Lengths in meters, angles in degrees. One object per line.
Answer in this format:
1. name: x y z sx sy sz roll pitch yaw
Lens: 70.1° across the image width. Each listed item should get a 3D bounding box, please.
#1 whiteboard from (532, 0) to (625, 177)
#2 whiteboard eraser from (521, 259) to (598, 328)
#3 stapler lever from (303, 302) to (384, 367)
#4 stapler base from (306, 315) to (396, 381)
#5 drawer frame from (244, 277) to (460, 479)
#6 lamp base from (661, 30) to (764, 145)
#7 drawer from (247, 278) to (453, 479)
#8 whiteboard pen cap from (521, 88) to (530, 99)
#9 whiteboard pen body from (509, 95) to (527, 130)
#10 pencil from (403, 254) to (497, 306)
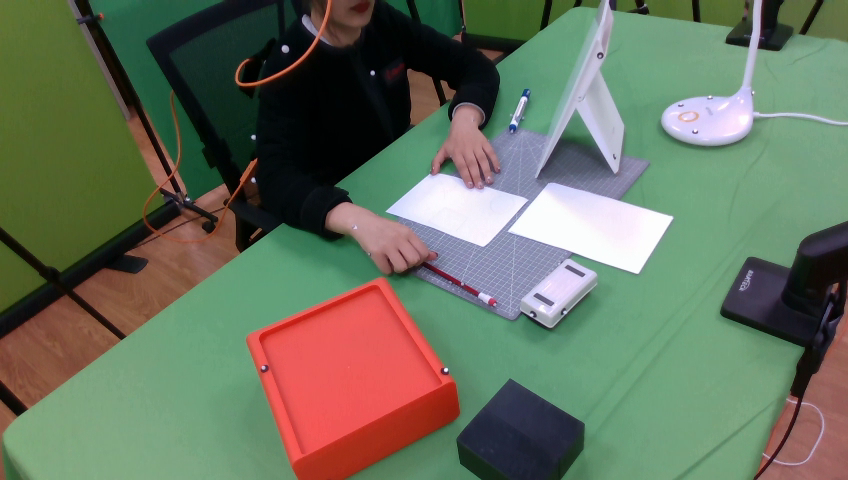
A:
1. whiteboard: 0.321 -0.258 1.050 0.144 0.306 0.217 21 45 5
2. whiteboard eraser: 0.189 0.076 0.843 0.055 0.042 0.113 29 53 37
3. stapler lever: -0.108 0.123 0.805 0.118 0.040 0.026 -27 36 -15
4. stapler base: -0.101 0.139 0.819 0.131 0.024 0.041 -31 37 -13
5. drawer frame: -0.093 0.167 0.755 0.202 0.083 0.211 -23 43 -17
6. lamp base: 0.535 -0.287 1.096 0.179 0.181 0.159 -10 40 -4
7. drawer: -0.096 0.167 0.758 0.195 0.073 0.210 -22 43 -16
8. whiteboard pen cap: 0.218 -0.312 1.301 0.018 0.018 0.033 6 46 17
9. whiteboard pen body: 0.199 -0.272 1.262 0.017 0.017 0.140 8 44 19
10. pencil: 0.034 0.057 0.914 0.192 0.012 0.012 27 52 38
